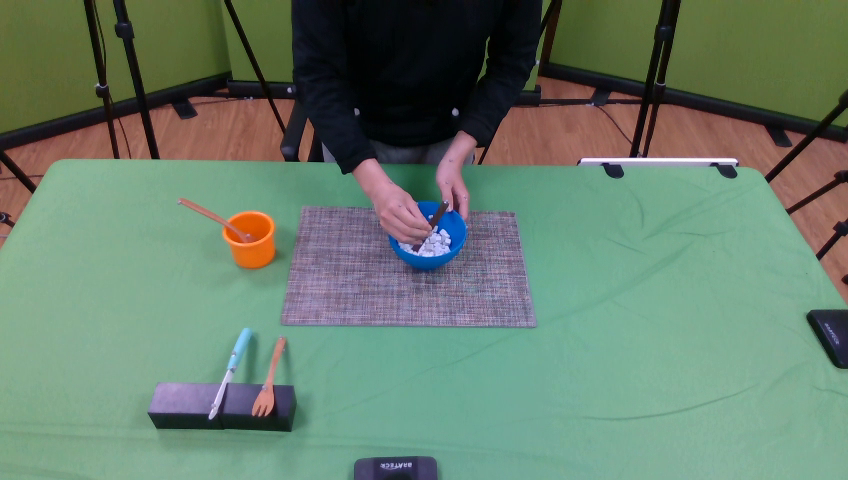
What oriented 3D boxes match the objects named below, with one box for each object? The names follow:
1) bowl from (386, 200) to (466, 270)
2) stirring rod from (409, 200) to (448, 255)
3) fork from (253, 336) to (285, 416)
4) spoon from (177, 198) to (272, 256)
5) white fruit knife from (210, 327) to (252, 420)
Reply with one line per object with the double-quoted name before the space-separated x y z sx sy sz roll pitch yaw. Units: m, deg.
"bowl" 0.001 0.003 1.150 0.151 0.077 0.150 3 46 -2
"stirring rod" 0.006 -0.019 1.078 0.014 0.176 0.006 24 52 -7
"fork" -0.235 0.206 0.938 0.028 0.019 0.206 -2 26 -3
"spoon" -0.361 -0.025 1.106 0.021 0.195 0.041 -32 37 28
"white fruit knife" -0.298 0.200 0.937 0.016 0.027 0.206 0 30 0
